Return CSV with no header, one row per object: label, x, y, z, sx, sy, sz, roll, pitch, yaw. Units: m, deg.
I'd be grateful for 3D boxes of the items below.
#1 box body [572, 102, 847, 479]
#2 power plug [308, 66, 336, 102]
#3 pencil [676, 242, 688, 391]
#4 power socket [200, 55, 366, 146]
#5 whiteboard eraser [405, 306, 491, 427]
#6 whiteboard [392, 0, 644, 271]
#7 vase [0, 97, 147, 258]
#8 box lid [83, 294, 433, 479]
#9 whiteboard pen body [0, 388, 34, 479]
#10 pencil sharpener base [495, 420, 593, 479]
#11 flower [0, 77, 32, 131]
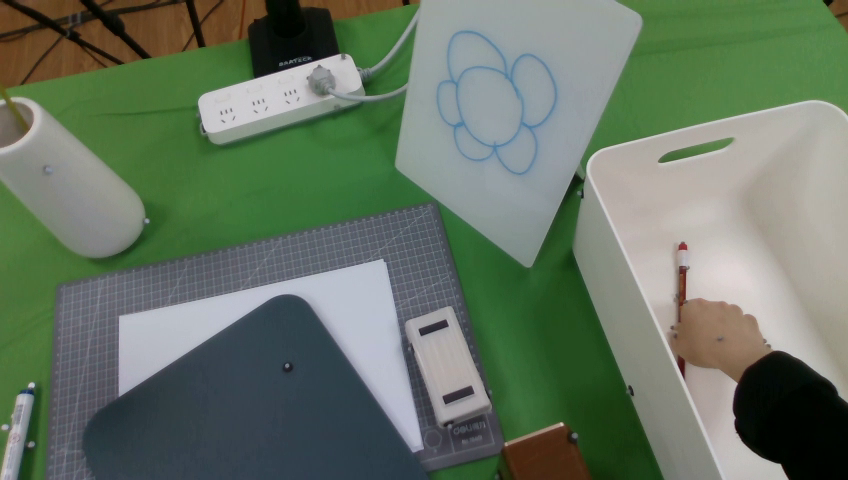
box body,0.311,0.080,0.553,0.254,0.162,0.360,-13,62,-4
power plug,-0.128,-0.188,0.768,0.035,0.053,0.072,-9,63,-1
pencil,0.267,0.087,0.627,0.012,0.012,0.192,9,62,9
power socket,-0.185,-0.185,0.796,0.227,0.033,0.071,-18,63,-7
whiteboard eraser,0.023,0.126,0.611,0.055,0.042,0.111,-17,62,-8
whiteboard,0.110,-0.159,0.646,0.215,0.307,0.144,39,52,22
vase,-0.383,-0.061,0.647,0.098,0.202,0.097,-2,61,4
box lid,-0.142,0.246,0.576,0.263,0.015,0.368,-34,66,-14
whiteboard pen body,-0.408,0.215,0.601,0.017,0.017,0.139,-9,58,-1
pencil sharpener base,0.105,0.212,0.527,0.061,0.108,0.076,-18,63,-6
flower,-0.385,-0.116,0.584,0.038,0.365,0.043,-24,45,-17
